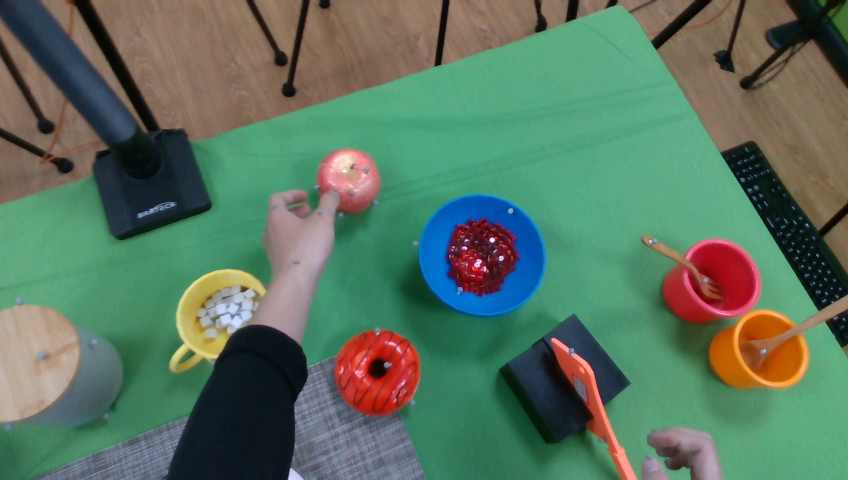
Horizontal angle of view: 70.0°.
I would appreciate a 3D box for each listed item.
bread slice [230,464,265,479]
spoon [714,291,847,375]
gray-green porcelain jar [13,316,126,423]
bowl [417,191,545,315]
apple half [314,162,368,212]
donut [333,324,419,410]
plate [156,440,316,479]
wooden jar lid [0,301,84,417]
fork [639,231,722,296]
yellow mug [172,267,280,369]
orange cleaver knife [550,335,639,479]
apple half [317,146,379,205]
[{"bbox_3d":[-0.189,0.317,0.626,0.107,0.018,0.133,-32,76,-15],"label":"bread slice"},{"bbox_3d":[0.430,0.103,0.707,0.022,0.194,0.041,-6,61,-56],"label":"spoon"},{"bbox_3d":[-0.379,0.134,0.627,0.106,0.127,0.105,2,70,-5],"label":"gray-green porcelain jar"},{"bbox_3d":[0.064,0.025,0.736,0.151,0.077,0.150,2,71,-5],"label":"bowl"},{"bbox_3d":[-0.109,-0.055,0.747,0.081,0.081,0.032,33,66,7],"label":"apple half"},{"bbox_3d":[-0.054,0.146,0.695,0.099,0.048,0.098,2,71,-5],"label":"donut"},{"bbox_3d":[-0.197,0.315,0.625,0.208,0.039,0.206,2,71,-5],"label":"plate"},{"bbox_3d":[-0.374,0.112,0.569,0.108,0.021,0.107,2,69,-4],"label":"wooden jar lid"},{"bbox_3d":[0.310,0.029,0.722,0.209,0.018,0.028,27,62,-41],"label":"fork"},{"bbox_3d":[-0.231,0.098,0.687,0.099,0.064,0.130,42,73,10],"label":"yellow mug"},{"bbox_3d":[0.195,0.201,0.684,0.012,0.076,0.212,-30,105,-14],"label":"orange cleaver knife"},{"bbox_3d":[-0.089,-0.085,0.762,0.080,0.075,0.053,32,65,10],"label":"apple half"}]
